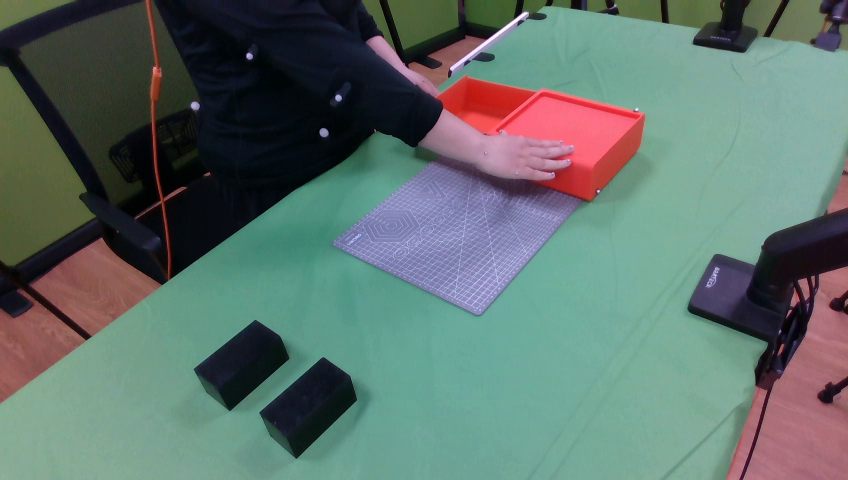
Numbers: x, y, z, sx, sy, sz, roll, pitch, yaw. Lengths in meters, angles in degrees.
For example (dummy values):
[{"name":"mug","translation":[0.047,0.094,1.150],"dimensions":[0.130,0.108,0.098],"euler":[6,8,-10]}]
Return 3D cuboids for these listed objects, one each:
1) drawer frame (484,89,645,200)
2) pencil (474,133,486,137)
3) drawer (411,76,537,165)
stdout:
[{"name":"drawer frame","translation":[0.253,-0.180,1.093],"dimensions":[0.212,0.083,0.202],"euler":[24,49,31]},{"name":"pencil","translation":[0.129,-0.208,1.194],"dimensions":[0.194,0.012,0.012],"euler":[-4,40,8]},{"name":"drawer","translation":[0.115,-0.237,1.190],"dimensions":[0.210,0.073,0.195],"euler":[22,47,32]}]
